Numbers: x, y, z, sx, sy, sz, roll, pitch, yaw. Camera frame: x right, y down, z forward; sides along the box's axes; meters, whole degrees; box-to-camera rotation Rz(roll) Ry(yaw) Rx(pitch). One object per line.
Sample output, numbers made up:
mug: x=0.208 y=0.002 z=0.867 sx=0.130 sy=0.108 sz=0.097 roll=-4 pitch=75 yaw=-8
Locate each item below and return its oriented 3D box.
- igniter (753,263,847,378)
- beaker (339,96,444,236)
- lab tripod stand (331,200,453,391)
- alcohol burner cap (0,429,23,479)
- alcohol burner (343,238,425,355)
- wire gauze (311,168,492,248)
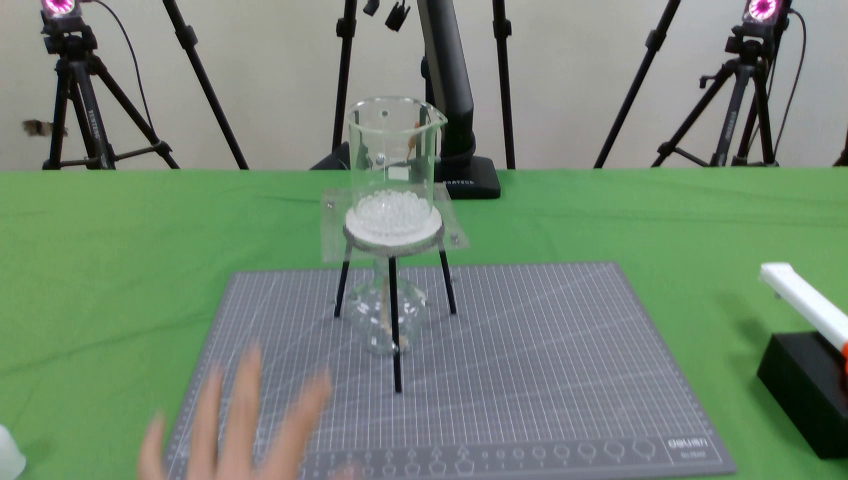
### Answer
igniter: x=0.364 y=0.096 z=0.505 sx=0.057 sy=0.025 sz=0.274 roll=-2 pitch=29 yaw=-5
beaker: x=-0.027 y=-0.060 z=0.510 sx=0.084 sy=0.101 sz=0.073 roll=-3 pitch=35 yaw=-7
lab tripod stand: x=-0.028 y=0.042 z=0.562 sx=0.148 sy=0.132 sz=0.147 roll=2 pitch=33 yaw=-1
alcohol burner cap: x=-0.327 y=0.161 z=0.454 sx=0.034 sy=0.048 sz=0.033 roll=2 pitch=31 yaw=-1
alcohol burner: x=-0.037 y=0.049 z=0.570 sx=0.078 sy=0.120 sz=0.077 roll=3 pitch=32 yaw=-1
wire gauze: x=-0.022 y=-0.029 z=0.523 sx=0.125 sy=0.011 sz=0.120 roll=-11 pitch=32 yaw=-27
